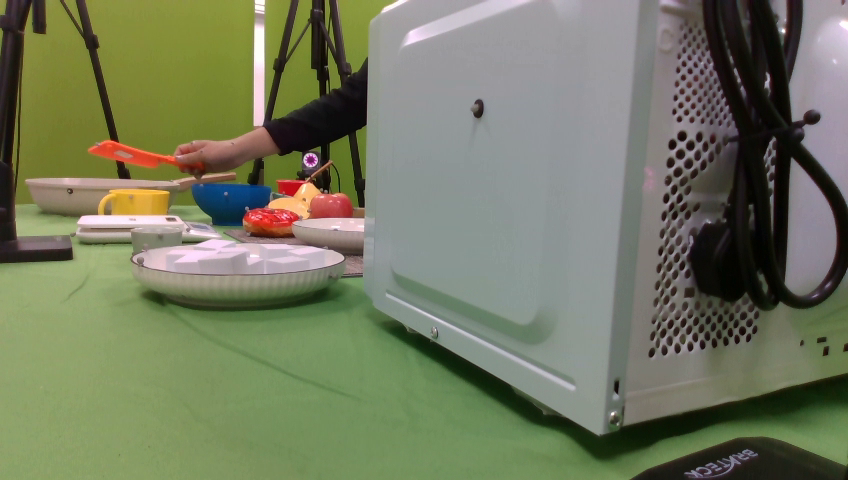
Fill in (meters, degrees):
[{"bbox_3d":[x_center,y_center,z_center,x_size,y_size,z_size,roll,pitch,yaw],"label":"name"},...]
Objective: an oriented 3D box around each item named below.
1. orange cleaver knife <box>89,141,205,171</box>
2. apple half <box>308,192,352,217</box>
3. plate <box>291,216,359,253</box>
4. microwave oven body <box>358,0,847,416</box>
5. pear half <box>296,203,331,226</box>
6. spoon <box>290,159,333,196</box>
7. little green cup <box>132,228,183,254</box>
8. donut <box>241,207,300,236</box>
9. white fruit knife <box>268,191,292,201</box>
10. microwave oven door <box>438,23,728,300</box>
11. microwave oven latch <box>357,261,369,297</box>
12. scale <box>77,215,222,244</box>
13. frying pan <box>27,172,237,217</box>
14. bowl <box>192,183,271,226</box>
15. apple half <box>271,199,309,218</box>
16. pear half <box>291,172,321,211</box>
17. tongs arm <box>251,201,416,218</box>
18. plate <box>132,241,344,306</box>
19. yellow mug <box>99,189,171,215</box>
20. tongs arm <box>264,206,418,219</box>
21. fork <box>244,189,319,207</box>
[{"bbox_3d":[-0.553,-0.163,1.220,0.212,0.012,0.077,11,-20,-43],"label":"orange cleaver knife"},{"bbox_3d":[-0.165,-0.050,1.106,0.081,0.074,0.053,2,10,-41],"label":"apple half"},{"bbox_3d":[-0.103,-0.009,0.945,0.209,0.038,0.209,2,8,0],"label":"plate"},{"bbox_3d":[0.211,-0.047,0.474,0.444,0.260,0.324,-1,7,-28],"label":"microwave oven body"},{"bbox_3d":[-0.229,-0.049,1.259,0.070,0.031,0.088,2,22,-4],"label":"pear half"},{"bbox_3d":[-0.316,-0.159,1.640,0.194,0.022,0.041,-49,32,-20],"label":"spoon"},{"bbox_3d":[-0.342,0.006,0.779,0.061,0.038,0.061,2,8,0],"label":"little green cup"},{"bbox_3d":[-0.263,-0.031,1.039,0.099,0.048,0.099,5,9,0],"label":"donut"},{"bbox_3d":[-0.364,-0.105,1.464,0.208,0.027,0.016,15,0,-34],"label":"white fruit knife"},{"bbox_3d":[0.181,-0.073,0.621,0.358,0.243,0.039,-2,8,-29],"label":"microwave oven door"},{"bbox_3d":[-0.019,0.033,0.530,0.079,0.029,0.030,-1,7,-26],"label":"microwave oven latch"},{"bbox_3d":[-0.434,-0.019,0.963,0.202,0.031,0.148,-1,9,-27],"label":"scale"},{"bbox_3d":[-0.624,-0.118,1.387,0.305,0.102,0.490,8,17,32],"label":"frying pan"},{"bbox_3d":[-0.382,-0.071,1.202,0.151,0.077,0.151,3,7,0],"label":"bowl"},{"bbox_3d":[-0.254,-0.038,1.143,0.081,0.032,0.081,17,45,-17],"label":"apple half"},{"bbox_3d":[-0.228,-0.078,1.182,0.076,0.110,0.056,-2,8,2],"label":"pear half"},{"bbox_3d":[-0.210,-0.072,1.439,0.389,0.027,0.028,1,1,-17],"label":"tongs arm"},{"bbox_3d":[-0.187,0.033,0.625,0.208,0.039,0.207,2,8,0],"label":"plate"},{"bbox_3d":[-0.518,-0.055,1.080,0.099,0.064,0.131,6,9,26],"label":"yellow mug"},{"bbox_3d":[-0.173,-0.062,1.362,0.387,0.026,0.050,-1,6,-31],"label":"tongs arm"},{"bbox_3d":[-0.356,-0.105,1.526,0.208,0.018,0.028,15,-5,-41],"label":"fork"}]
